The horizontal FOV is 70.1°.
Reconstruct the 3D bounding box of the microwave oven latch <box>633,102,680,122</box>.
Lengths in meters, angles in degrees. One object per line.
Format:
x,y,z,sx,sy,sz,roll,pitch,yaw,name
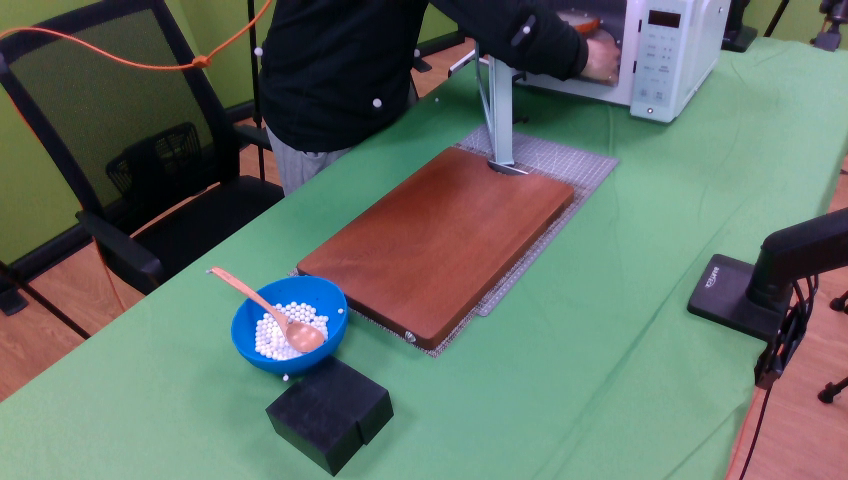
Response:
0.444,-0.249,1.157,0.078,0.029,0.030,22,49,30,microwave oven latch

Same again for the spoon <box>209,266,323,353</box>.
-0.213,0.088,0.806,0.193,0.021,0.042,37,55,11,spoon

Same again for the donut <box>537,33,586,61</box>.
0.282,-0.402,1.238,0.099,0.048,0.098,-1,47,2,donut

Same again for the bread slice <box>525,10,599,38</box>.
0.286,-0.441,1.228,0.135,0.018,0.106,-26,42,-29,bread slice

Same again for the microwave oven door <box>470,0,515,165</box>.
0.127,-0.341,1.153,0.039,0.245,0.354,-7,40,2,microwave oven door

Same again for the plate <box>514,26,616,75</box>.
0.293,-0.396,1.265,0.207,0.039,0.206,-4,42,4,plate

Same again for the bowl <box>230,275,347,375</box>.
-0.171,0.125,0.802,0.151,0.077,0.150,-4,40,4,bowl

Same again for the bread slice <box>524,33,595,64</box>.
0.291,-0.412,1.280,0.132,0.019,0.104,-15,44,-13,bread slice

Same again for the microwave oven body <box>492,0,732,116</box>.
0.377,-0.462,1.267,0.438,0.261,0.327,21,49,30,microwave oven body
